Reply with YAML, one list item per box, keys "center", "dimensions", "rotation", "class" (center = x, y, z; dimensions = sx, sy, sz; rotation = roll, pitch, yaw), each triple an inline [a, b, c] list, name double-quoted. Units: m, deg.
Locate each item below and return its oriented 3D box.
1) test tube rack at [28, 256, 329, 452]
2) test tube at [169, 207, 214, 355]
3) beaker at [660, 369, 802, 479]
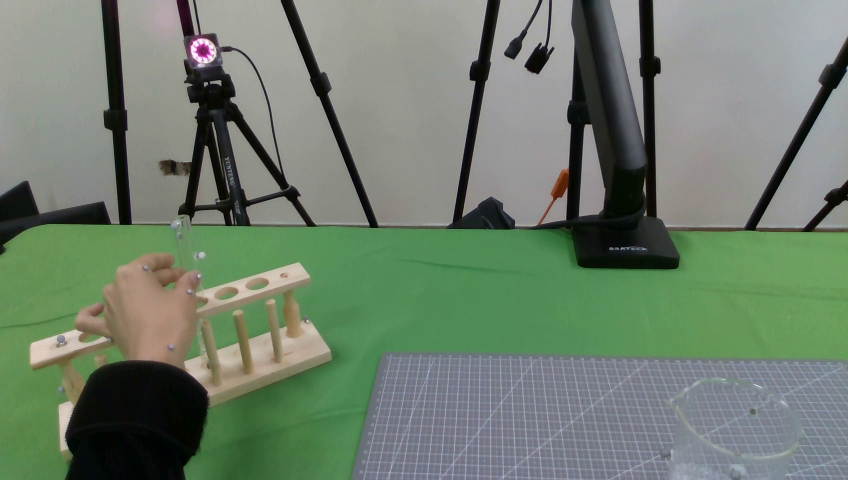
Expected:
- center: [-0.219, 0.099, 0.570]
  dimensions: [0.243, 0.086, 0.066]
  rotation: [-18, 33, -24]
  class: "test tube rack"
- center: [-0.215, 0.042, 0.566]
  dimensions: [0.017, 0.151, 0.017]
  rotation: [-2, 23, 1]
  class: "test tube"
- center: [0.203, 0.151, 0.421]
  dimensions: [0.083, 0.101, 0.074]
  rotation: [12, 33, 26]
  class: "beaker"
